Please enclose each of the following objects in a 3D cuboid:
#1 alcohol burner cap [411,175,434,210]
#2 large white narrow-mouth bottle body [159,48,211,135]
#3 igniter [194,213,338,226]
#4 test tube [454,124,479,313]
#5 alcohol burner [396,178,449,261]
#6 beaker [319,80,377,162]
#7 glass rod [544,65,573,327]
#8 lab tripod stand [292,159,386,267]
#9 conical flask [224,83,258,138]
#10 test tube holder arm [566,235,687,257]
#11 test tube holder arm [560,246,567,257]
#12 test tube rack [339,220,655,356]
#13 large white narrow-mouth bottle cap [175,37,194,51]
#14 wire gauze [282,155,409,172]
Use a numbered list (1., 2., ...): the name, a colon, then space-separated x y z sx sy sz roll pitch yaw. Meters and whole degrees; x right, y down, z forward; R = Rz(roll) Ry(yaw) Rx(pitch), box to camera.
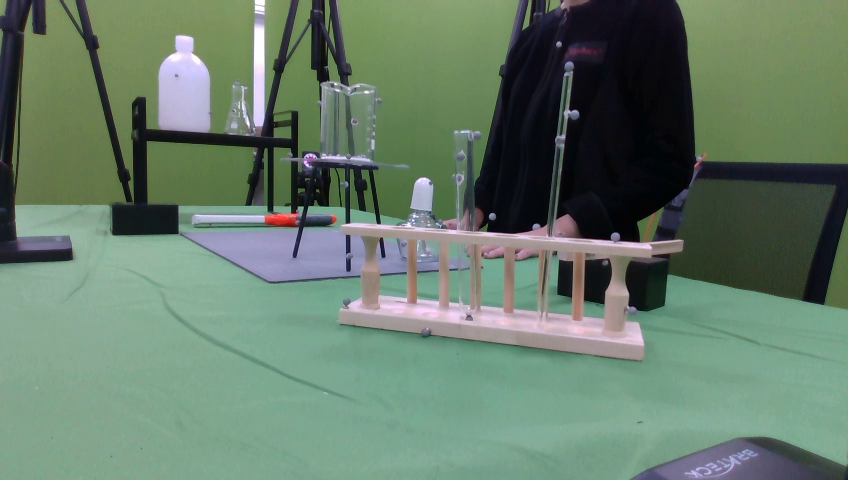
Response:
1. alcohol burner cap: 0.000 -0.067 0.842 0.034 0.048 0.034 8 8 -1
2. large white narrow-mouth bottle body: -0.503 -0.323 1.275 0.102 0.194 0.102 2 7 0
3. igniter: -0.306 -0.041 1.197 0.278 0.025 0.057 -2 -2 -30
4. test tube: 0.034 -0.015 0.477 0.017 0.150 0.017 -2 9 1
5. alcohol burner: -0.002 -0.031 0.846 0.078 0.119 0.078 0 6 0
6. beaker: -0.098 -0.150 0.777 0.074 0.100 0.084 1 6 -8
7. glass rod: 0.101 -0.028 0.453 0.008 0.199 0.008 2 14 0
8. lab tripod stand: -0.105 -0.039 0.797 0.148 0.131 0.148 2 5 0
9. conical flask: -0.422 -0.299 1.395 0.075 0.122 0.075 2 7 0
10. test tube holder arm: 0.215 0.006 0.630 0.179 0.015 0.013 -3 9 -31
11. test tube holder arm: 0.173 0.007 0.611 0.088 0.015 0.010 -3 9 -30
12. test tube rack: 0.056 0.032 0.495 0.242 0.085 0.067 4 7 15
13. large white narrow-mouth bottle cap: -0.501 -0.409 1.264 0.038 0.024 0.037 2 7 0
14. wire gauze: -0.104 -0.103 0.785 0.126 0.011 0.121 1 8 -39
